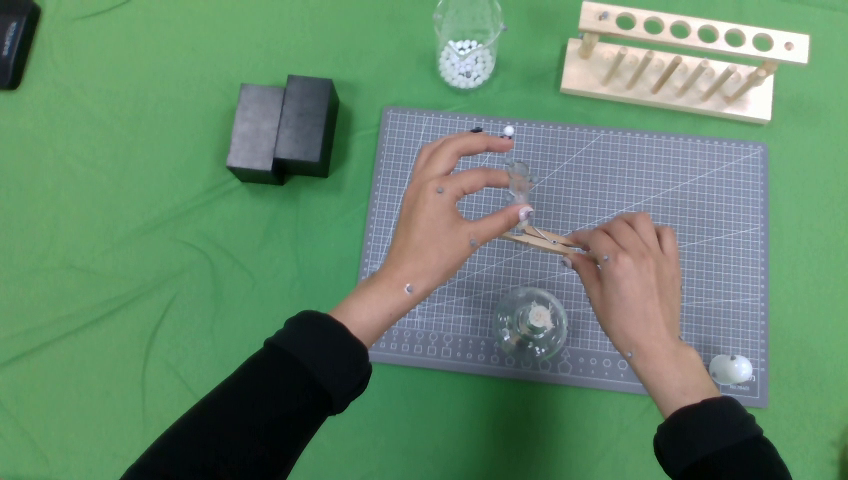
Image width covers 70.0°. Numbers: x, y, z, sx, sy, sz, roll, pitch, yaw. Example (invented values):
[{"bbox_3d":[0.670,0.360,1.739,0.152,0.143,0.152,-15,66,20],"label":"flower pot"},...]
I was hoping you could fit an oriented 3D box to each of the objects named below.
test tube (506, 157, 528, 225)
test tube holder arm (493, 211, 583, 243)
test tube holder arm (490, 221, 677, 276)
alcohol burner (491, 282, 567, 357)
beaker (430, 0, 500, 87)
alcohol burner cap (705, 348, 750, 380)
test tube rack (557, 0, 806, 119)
[{"bbox_3d":[0.078,-0.036,0.504,0.017,0.151,0.017,-2,77,9],"label":"test tube"},{"bbox_3d":[0.110,-0.010,0.587,0.087,0.015,0.010,19,80,7],"label":"test tube holder arm"},{"bbox_3d":[0.151,0.009,0.581,0.178,0.015,0.013,16,80,7],"label":"test tube holder arm"},{"bbox_3d":[0.108,0.078,0.608,0.078,0.119,0.077,0,76,0],"label":"alcohol burner"},{"bbox_3d":[0.044,-0.223,0.687,0.074,0.100,0.083,9,78,4],"label":"beaker"},{"bbox_3d":[0.317,0.128,0.629,0.034,0.048,0.033,0,76,1],"label":"alcohol burner cap"},{"bbox_3d":[0.282,-0.202,0.684,0.242,0.085,0.066,10,78,4],"label":"test tube rack"}]
